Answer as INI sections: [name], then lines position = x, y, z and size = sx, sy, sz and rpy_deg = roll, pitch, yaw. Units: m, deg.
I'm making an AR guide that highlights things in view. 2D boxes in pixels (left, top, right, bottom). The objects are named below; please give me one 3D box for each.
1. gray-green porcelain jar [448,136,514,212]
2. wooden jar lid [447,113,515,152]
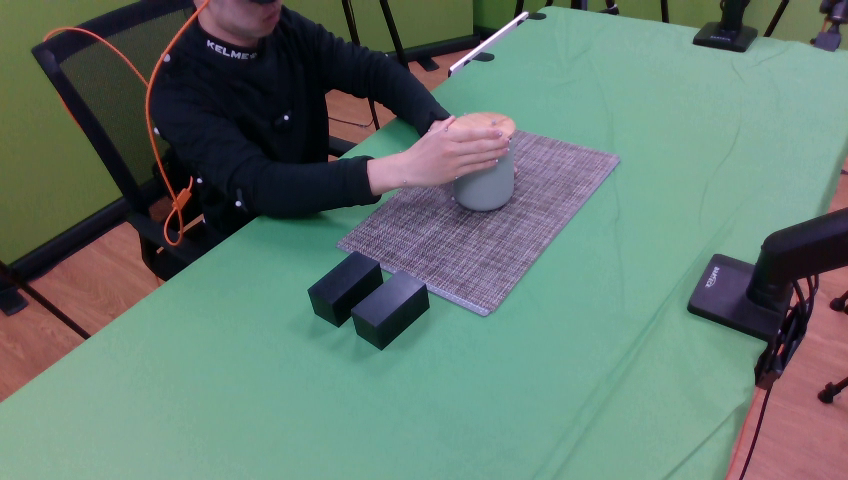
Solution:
[gray-green porcelain jar]
position = 0.097, -0.119, 1.008
size = 0.106, 0.127, 0.105
rpy_deg = -4, 41, 4
[wooden jar lid]
position = 0.091, -0.171, 0.962
size = 0.108, 0.021, 0.108
rpy_deg = -4, 37, 4
